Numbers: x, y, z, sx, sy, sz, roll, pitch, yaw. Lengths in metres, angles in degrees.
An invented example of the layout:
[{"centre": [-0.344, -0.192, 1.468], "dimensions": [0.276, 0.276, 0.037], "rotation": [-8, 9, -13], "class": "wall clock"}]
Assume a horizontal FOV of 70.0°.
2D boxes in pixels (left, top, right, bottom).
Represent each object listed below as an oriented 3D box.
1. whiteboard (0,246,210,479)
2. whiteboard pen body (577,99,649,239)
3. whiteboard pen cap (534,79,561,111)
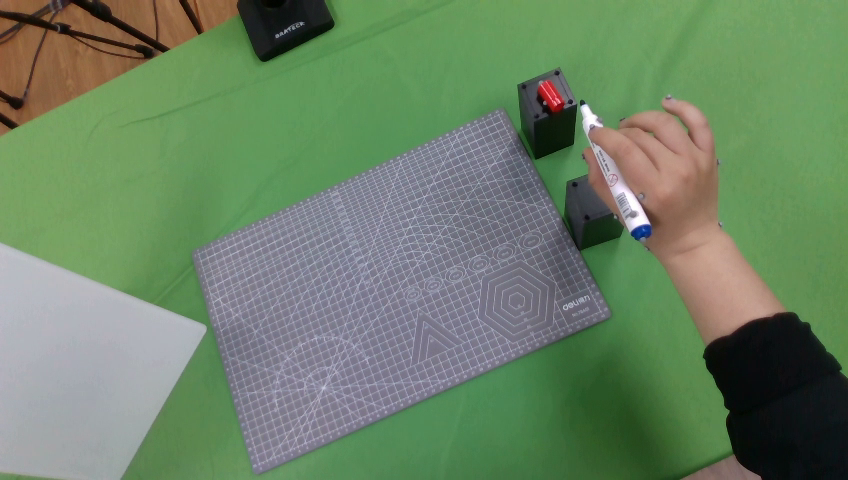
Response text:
[{"centre": [-0.443, 0.124, 0.671], "dimensions": [0.142, 0.309, 0.216], "rotation": [21, 78, 37], "class": "whiteboard"}, {"centre": [0.146, -0.061, 0.481], "dimensions": [0.017, 0.017, 0.139], "rotation": [-17, 60, 6], "class": "whiteboard pen body"}, {"centre": [0.133, -0.156, 0.652], "dimensions": [0.017, 0.017, 0.032], "rotation": [-30, 72, 2], "class": "whiteboard pen cap"}]
